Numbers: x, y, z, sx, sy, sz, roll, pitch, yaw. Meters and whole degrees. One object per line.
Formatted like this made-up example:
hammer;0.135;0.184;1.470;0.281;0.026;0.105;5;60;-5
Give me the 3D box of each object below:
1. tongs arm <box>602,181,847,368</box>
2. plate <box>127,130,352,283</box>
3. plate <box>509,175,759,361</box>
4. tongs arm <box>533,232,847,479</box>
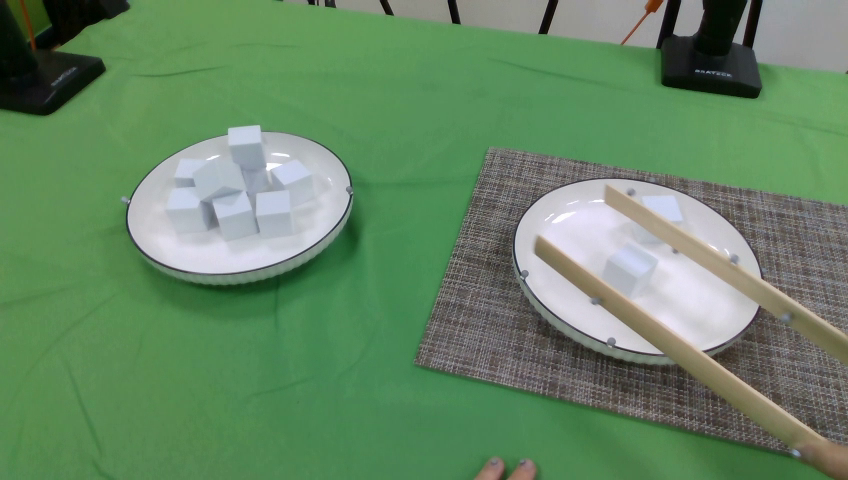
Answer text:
tongs arm;0.255;0.076;0.399;0.051;0.027;0.381;-35;55;-22
plate;-0.172;-0.032;0.588;0.209;0.038;0.207;1;45;0
plate;0.177;0.022;0.532;0.208;0.039;0.205;0;46;0
tongs arm;0.219;0.101;0.383;0.028;0.028;0.384;-35;55;-26
